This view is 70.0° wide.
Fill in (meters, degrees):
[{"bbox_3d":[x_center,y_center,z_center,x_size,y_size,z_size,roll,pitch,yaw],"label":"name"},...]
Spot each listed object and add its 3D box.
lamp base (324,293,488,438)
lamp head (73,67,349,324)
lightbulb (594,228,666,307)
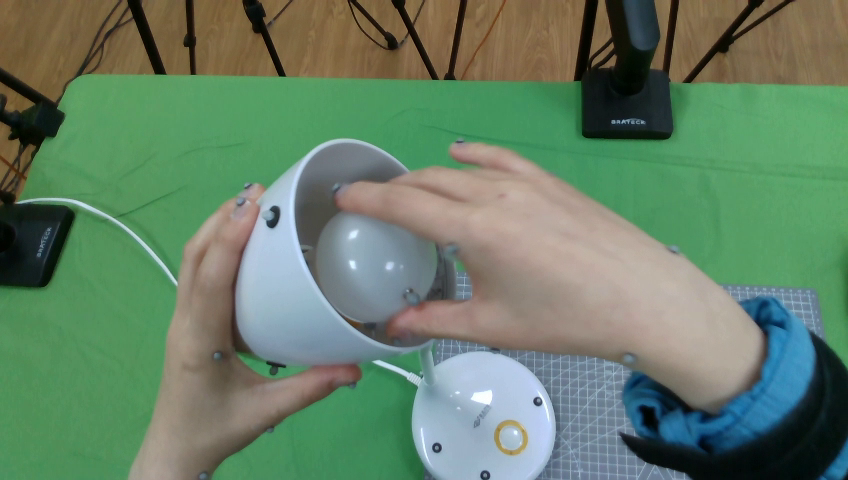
[{"bbox_3d":[-0.027,0.110,0.603,0.179,0.181,0.159,5,71,8],"label":"lamp base"},{"bbox_3d":[-0.112,-0.006,0.300,0.122,0.113,0.111,-26,64,41],"label":"lamp head"},{"bbox_3d":[0.229,0.027,0.687,0.059,0.060,0.106,-25,56,-5],"label":"lightbulb"}]
